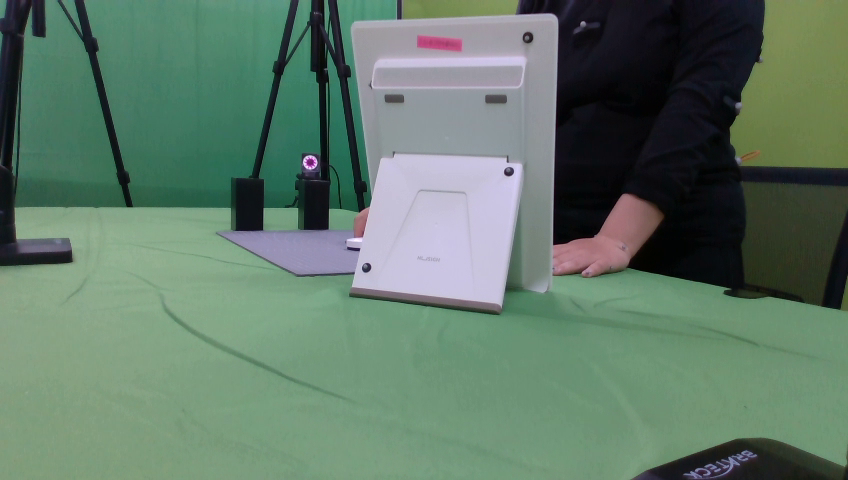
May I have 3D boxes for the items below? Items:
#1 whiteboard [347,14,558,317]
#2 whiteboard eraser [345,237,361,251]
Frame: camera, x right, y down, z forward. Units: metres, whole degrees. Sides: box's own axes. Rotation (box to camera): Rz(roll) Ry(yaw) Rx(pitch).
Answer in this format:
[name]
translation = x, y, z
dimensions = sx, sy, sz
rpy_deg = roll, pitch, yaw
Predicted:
[whiteboard]
translation = 0.012, -0.056, 0.608
dimensions = 0.216, 0.305, 0.144
rpy_deg = 5, 27, 20
[whiteboard eraser]
translation = -0.085, 0.004, 0.971
dimensions = 0.041, 0.019, 0.102
rpy_deg = 8, 8, 35
